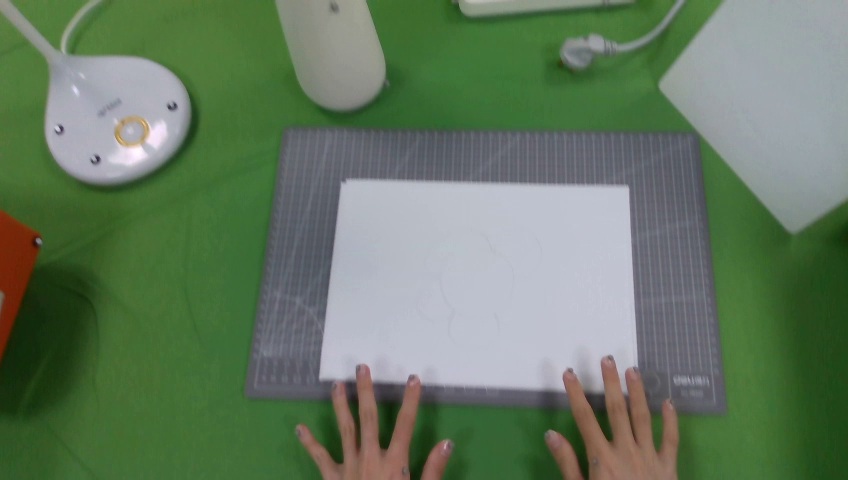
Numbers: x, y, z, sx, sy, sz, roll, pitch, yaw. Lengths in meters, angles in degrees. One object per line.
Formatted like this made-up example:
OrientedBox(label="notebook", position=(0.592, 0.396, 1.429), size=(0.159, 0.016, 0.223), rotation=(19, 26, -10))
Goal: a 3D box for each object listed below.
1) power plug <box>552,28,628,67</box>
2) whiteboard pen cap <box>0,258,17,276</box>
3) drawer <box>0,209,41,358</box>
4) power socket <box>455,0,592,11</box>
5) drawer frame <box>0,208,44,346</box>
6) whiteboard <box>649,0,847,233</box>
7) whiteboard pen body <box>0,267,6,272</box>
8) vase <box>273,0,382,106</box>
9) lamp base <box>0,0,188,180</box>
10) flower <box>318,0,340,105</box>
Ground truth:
OrientedBox(label="power plug", position=(0.179, -0.204, 0.666), size=(0.073, 0.053, 0.035), rotation=(23, 68, -11))
OrientedBox(label="whiteboard pen cap", position=(-0.403, 0.027, 0.568), size=(0.033, 0.018, 0.018), rotation=(-7, 71, 7))
OrientedBox(label="drawer", position=(-0.484, 0.061, 0.537), size=(0.211, 0.073, 0.193), rotation=(6, 73, 4))
OrientedBox(label="power socket", position=(0.138, -0.312, 0.706), size=(0.227, 0.033, 0.071), rotation=(-4, 72, 1))
OrientedBox(label="drawer frame", position=(-0.491, 0.063, 0.539), size=(0.213, 0.083, 0.200), rotation=(6, 72, 3))
OrientedBox(label="whiteboard", position=(0.397, -0.188, 0.542), size=(0.144, 0.307, 0.215), rotation=(-24, 70, -25))
OrientedBox(label="whiteboard pen body", position=(-0.463, 0.036, 0.567), size=(0.141, 0.017, 0.017), rotation=(-7, 71, -2))
OrientedBox(label="vase", position=(-0.100, -0.219, 0.598), size=(0.098, 0.201, 0.097), rotation=(-1, 71, 4))
OrientedBox(label="lamp base", position=(-0.356, -0.172, 0.604), size=(0.178, 0.181, 0.160), rotation=(34, 76, 16))
OrientedBox(label="flower", position=(-0.097, -0.263, 0.526), size=(0.038, 0.365, 0.043), rotation=(-11, 53, -8))
